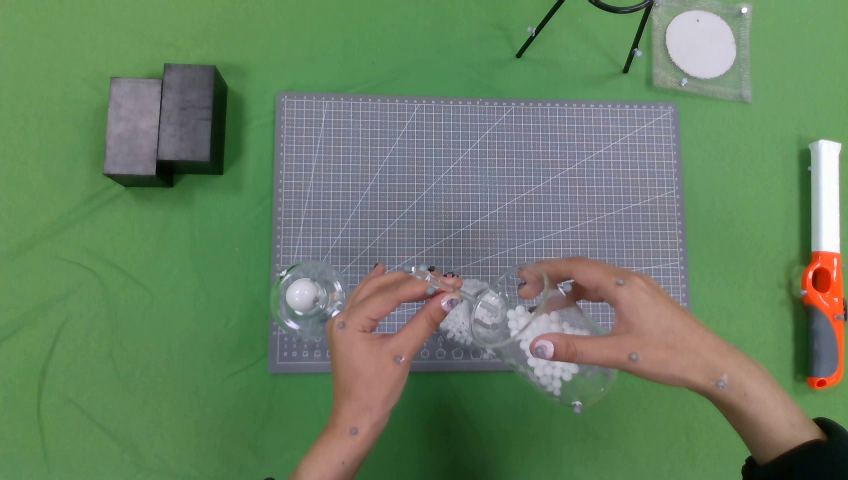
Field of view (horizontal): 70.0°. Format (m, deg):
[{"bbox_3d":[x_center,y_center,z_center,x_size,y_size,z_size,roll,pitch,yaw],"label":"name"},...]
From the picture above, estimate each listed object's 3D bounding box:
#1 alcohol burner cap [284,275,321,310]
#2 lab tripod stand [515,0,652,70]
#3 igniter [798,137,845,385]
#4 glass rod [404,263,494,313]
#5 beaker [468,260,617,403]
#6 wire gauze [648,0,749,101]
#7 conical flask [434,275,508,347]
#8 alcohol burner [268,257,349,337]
[{"bbox_3d":[-0.110,0.047,0.540,0.034,0.048,0.034,1,85,-7],"label":"alcohol burner cap"},{"bbox_3d":[0.175,-0.247,0.633,0.148,0.131,0.148,0,84,-4],"label":"lab tripod stand"},{"bbox_3d":[0.441,0.021,0.671,0.057,0.025,0.275,8,82,-14],"label":"igniter"},{"bbox_3d":[0.025,0.040,0.469,0.008,0.201,0.008,-5,74,21],"label":"glass rod"},{"bbox_3d":[0.092,0.072,0.464,0.101,0.083,0.074,40,91,-25],"label":"beaker"},{"bbox_3d":[0.321,-0.229,0.706,0.125,0.011,0.121,6,82,-6],"label":"wire gauze"},{"bbox_3d":[0.051,0.066,0.583,0.075,0.122,0.075,1,81,-4],"label":"conical flask"},{"bbox_3d":[-0.112,0.053,0.576,0.078,0.119,0.077,0,81,-2],"label":"alcohol burner"}]
